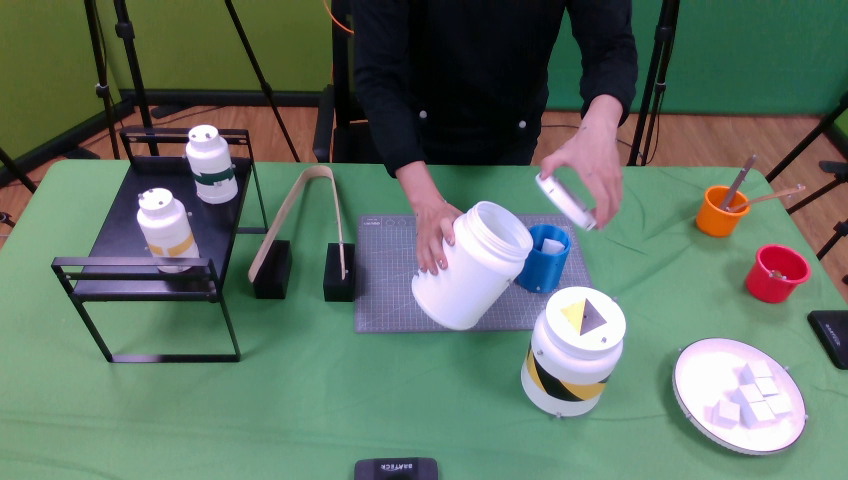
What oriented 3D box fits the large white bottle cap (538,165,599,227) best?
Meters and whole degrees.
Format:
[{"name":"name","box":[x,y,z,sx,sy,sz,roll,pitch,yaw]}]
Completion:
[{"name":"large white bottle cap","box":[0.218,-0.067,0.914,0.115,0.018,0.114,40,19,-16]}]

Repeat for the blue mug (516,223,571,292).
[{"name":"blue mug","box":[0.202,0.031,1.121,0.116,0.106,0.082,5,46,1]}]

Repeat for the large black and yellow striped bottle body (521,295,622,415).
[{"name":"large black and yellow striped bottle body","box":[0.228,0.173,0.937,0.131,0.185,0.130,2,47,-2]}]

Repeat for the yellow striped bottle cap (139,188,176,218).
[{"name":"yellow striped bottle cap","box":[-0.363,-0.051,0.826,0.044,0.019,0.044,1,48,0]}]

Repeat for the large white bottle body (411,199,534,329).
[{"name":"large white bottle body","box":[0.077,0.037,0.964,0.131,0.185,0.130,26,31,-17]}]

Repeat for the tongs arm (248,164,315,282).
[{"name":"tongs arm","box":[-0.270,-0.047,1.165,0.028,0.028,0.385,-1,34,7]}]

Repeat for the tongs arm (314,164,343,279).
[{"name":"tongs arm","box":[-0.188,-0.049,1.170,0.051,0.026,0.382,-6,35,-6]}]

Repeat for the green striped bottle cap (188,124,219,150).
[{"name":"green striped bottle cap","box":[-0.339,-0.158,0.931,0.044,0.020,0.044,3,46,-3]}]

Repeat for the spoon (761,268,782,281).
[{"name":"spoon","box":[0.638,0.060,1.105,0.041,0.021,0.194,39,11,24]}]

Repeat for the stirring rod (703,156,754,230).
[{"name":"stirring rod","box":[0.632,-0.098,1.258,0.014,0.006,0.176,33,95,29]}]

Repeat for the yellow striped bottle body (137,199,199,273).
[{"name":"yellow striped bottle body","box":[-0.366,-0.014,0.863,0.063,0.121,0.062,2,46,-2]}]

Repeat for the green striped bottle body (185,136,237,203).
[{"name":"green striped bottle body","box":[-0.341,-0.122,0.968,0.063,0.120,0.063,2,46,-2]}]

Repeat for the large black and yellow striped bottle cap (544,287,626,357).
[{"name":"large black and yellow striped bottle cap","box":[0.232,0.116,0.876,0.115,0.019,0.114,2,46,-1]}]

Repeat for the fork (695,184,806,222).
[{"name":"fork","box":[0.657,-0.075,1.230,0.207,0.019,0.028,-23,34,37]}]

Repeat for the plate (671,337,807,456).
[{"name":"plate","box":[0.504,0.254,0.984,0.208,0.039,0.206,2,46,-2]}]
